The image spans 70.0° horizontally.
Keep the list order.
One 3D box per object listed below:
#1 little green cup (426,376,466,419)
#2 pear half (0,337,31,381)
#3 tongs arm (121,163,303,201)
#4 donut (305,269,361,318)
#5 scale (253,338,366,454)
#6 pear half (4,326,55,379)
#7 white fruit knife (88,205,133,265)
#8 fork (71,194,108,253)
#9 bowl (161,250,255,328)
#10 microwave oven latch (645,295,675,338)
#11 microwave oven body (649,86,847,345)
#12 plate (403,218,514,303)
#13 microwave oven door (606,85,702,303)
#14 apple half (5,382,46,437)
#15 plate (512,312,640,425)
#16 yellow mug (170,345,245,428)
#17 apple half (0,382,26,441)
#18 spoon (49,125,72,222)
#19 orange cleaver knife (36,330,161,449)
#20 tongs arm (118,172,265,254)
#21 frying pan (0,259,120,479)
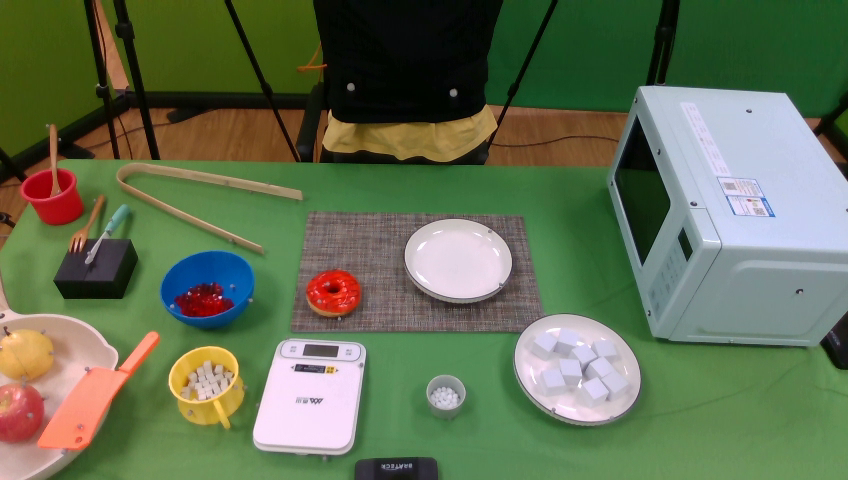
[{"bbox_3d":[0.033,0.248,0.950,0.061,0.039,0.061,2,46,-2],"label":"little green cup"},{"bbox_3d":[-0.632,0.185,0.920,0.070,0.088,0.031,30,49,20],"label":"pear half"},{"bbox_3d":[-0.444,-0.114,1.266,0.384,0.026,0.050,12,51,7],"label":"tongs arm"},{"bbox_3d":[-0.160,0.094,1.075,0.099,0.048,0.098,3,45,-3],"label":"donut"},{"bbox_3d":[-0.175,0.236,0.951,0.149,0.032,0.199,4,45,0],"label":"scale"},{"bbox_3d":[-0.609,0.159,0.933,0.076,0.110,0.056,32,52,20],"label":"pear half"},{"bbox_3d":[-0.583,-0.013,1.129,0.016,0.027,0.206,-2,32,-4],"label":"white fruit knife"},{"bbox_3d":[-0.634,-0.036,1.158,0.028,0.019,0.206,-8,31,-8],"label":"fork"},{"bbox_3d":[-0.362,0.098,1.039,0.151,0.077,0.150,2,45,-2],"label":"bowl"},{"bbox_3d":[0.411,0.134,1.061,0.030,0.029,0.078,3,45,0],"label":"microwave oven latch"},{"bbox_3d":[0.567,-0.053,1.119,0.326,0.261,0.439,2,45,-1],"label":"microwave oven body"},{"bbox_3d":[0.064,0.042,1.146,0.209,0.038,0.208,2,46,-2],"label":"plate"},{"bbox_3d":[0.423,-0.094,1.140,0.039,0.245,0.353,2,46,-1],"label":"microwave oven door"},{"bbox_3d":[-0.567,0.245,0.877,0.033,0.082,0.080,-9,47,-7],"label":"apple half"},{"bbox_3d":[0.246,0.213,0.999,0.208,0.039,0.206,2,46,-2],"label":"plate"},{"bbox_3d":[-0.322,0.230,0.922,0.100,0.064,0.130,-24,53,-25],"label":"yellow mug"},{"bbox_3d":[-0.605,0.250,0.871,0.053,0.075,0.080,-9,51,-7],"label":"apple half"},{"bbox_3d":[-0.718,-0.131,1.189,0.041,0.021,0.193,-4,90,-6],"label":"spoon"},{"bbox_3d":[-0.466,0.210,0.880,0.077,0.012,0.210,15,46,9],"label":"orange cleaver knife"},{"bbox_3d":[-0.473,-0.054,1.211,0.386,0.028,0.028,23,56,17],"label":"tongs arm"},{"bbox_3d":[-0.647,0.164,0.936,0.307,0.103,0.485,-19,58,-22],"label":"frying pan"}]
